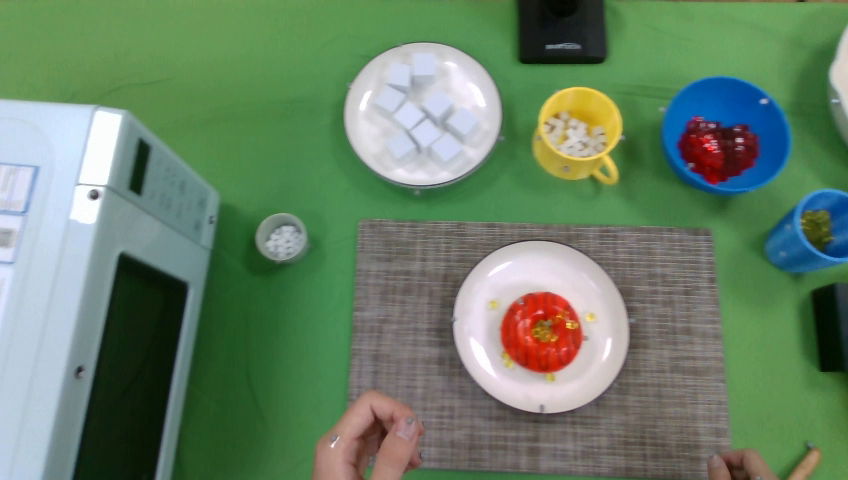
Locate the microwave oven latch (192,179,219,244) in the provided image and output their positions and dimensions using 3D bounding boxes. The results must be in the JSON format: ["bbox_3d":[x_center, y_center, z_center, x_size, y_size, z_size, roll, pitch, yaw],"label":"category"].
[{"bbox_3d":[-0.280,-0.037,0.762,0.030,0.029,0.079,7,77,4],"label":"microwave oven latch"}]

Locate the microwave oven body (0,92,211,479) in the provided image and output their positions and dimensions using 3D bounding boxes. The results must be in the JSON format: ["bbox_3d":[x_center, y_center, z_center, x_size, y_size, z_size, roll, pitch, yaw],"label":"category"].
[{"bbox_3d":[-0.449,0.097,0.635,0.326,0.261,0.439,5,77,3],"label":"microwave oven body"}]

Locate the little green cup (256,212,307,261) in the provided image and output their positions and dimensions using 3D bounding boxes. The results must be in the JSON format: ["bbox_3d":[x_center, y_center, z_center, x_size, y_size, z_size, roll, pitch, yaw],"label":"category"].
[{"bbox_3d":[-0.178,-0.002,0.768,0.061,0.039,0.061,0,77,1],"label":"little green cup"}]

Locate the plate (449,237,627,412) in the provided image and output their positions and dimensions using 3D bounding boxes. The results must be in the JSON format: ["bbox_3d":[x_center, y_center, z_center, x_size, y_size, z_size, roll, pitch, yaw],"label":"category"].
[{"bbox_3d":[0.134,0.100,0.727,0.209,0.038,0.208,0,76,2],"label":"plate"}]

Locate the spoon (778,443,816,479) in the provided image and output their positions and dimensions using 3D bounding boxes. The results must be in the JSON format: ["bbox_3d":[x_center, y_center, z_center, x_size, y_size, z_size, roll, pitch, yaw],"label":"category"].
[{"bbox_3d":[0.380,0.299,0.680,0.193,0.022,0.041,-42,66,-8],"label":"spoon"}]

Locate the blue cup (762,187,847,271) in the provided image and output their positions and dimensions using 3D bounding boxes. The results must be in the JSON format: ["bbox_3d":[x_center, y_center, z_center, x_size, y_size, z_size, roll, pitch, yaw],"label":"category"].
[{"bbox_3d":[0.452,-0.005,0.712,0.092,0.101,0.092,0,73,2],"label":"blue cup"}]

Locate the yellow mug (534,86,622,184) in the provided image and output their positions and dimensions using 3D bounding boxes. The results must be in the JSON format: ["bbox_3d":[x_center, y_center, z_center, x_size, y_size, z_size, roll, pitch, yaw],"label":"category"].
[{"bbox_3d":[0.203,-0.125,0.771,0.100,0.064,0.130,-34,78,-6],"label":"yellow mug"}]

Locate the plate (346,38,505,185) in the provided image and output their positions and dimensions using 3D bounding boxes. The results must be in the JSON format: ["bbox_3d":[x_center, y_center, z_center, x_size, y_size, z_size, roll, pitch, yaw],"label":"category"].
[{"bbox_3d":[0.003,-0.167,0.804,0.207,0.039,0.206,0,76,2],"label":"plate"}]

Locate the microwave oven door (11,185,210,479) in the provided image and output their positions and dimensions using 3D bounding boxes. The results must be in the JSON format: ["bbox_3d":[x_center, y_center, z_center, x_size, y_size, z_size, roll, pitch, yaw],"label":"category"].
[{"bbox_3d":[-0.308,0.149,0.612,0.039,0.245,0.354,4,76,4],"label":"microwave oven door"}]

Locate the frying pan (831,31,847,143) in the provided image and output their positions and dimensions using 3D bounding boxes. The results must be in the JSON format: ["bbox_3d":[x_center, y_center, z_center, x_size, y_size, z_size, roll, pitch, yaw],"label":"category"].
[{"bbox_3d":[0.642,-0.087,0.725,0.306,0.103,0.484,7,68,5],"label":"frying pan"}]

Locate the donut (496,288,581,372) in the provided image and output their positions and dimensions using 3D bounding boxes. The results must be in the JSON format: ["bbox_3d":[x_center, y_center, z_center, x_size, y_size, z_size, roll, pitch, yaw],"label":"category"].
[{"bbox_3d":[0.135,0.106,0.715,0.099,0.048,0.098,-1,79,4],"label":"donut"}]

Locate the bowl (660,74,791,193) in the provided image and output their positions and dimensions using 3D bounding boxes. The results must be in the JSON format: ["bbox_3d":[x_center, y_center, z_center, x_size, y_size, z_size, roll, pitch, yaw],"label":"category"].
[{"bbox_3d":[0.363,-0.121,0.758,0.151,0.077,0.150,0,76,2],"label":"bowl"}]
